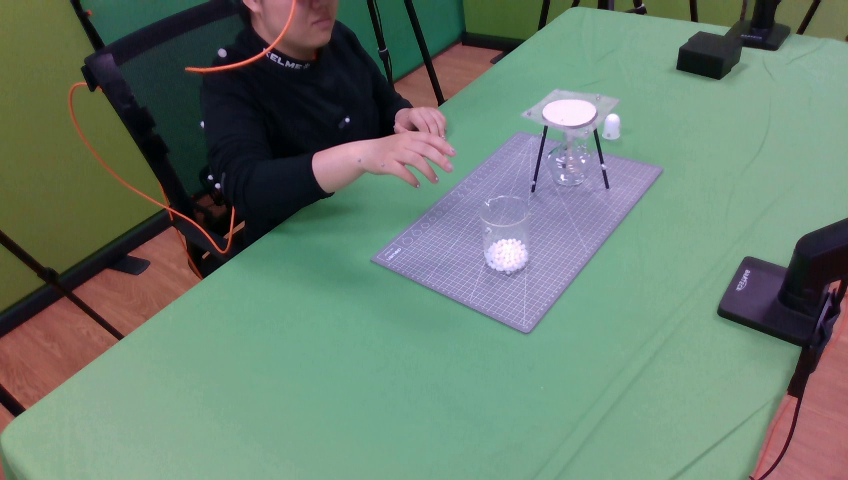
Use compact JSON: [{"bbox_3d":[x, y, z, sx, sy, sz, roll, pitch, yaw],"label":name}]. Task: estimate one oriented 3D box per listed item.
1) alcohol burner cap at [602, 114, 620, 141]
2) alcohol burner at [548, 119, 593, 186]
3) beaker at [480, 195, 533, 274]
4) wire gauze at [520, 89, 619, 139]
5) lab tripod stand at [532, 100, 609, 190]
[{"bbox_3d":[0.359,-0.217,1.157,0.034,0.048,0.033,-6,39,6],"label":"alcohol burner cap"},{"bbox_3d":[0.252,-0.154,1.042,0.078,0.120,0.077,-7,40,6],"label":"alcohol burner"},{"bbox_3d":[0.122,-0.007,0.903,0.074,0.101,0.083,-30,43,-24],"label":"beaker"},{"bbox_3d":[0.239,-0.213,0.994,0.124,0.011,0.122,24,49,32],"label":"wire gauze"},{"bbox_3d":[0.251,-0.160,1.034,0.148,0.132,0.147,-4,39,4],"label":"lab tripod stand"}]
